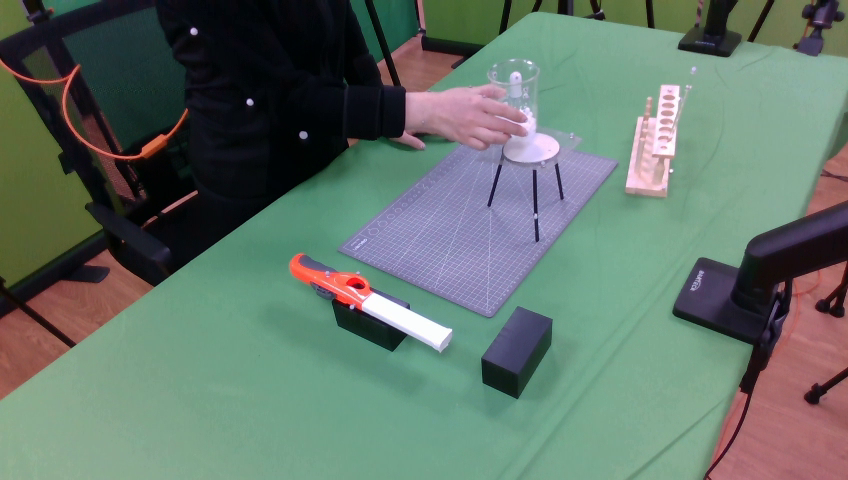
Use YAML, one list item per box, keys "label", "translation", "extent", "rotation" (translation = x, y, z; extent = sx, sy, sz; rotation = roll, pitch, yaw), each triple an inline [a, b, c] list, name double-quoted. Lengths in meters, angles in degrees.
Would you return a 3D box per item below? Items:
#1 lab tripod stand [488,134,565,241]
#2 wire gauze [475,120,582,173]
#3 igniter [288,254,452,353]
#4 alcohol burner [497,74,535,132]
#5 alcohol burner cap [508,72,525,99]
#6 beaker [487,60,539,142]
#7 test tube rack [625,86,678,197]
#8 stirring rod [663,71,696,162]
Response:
- label: "lab tripod stand"
  translation: [0.169, -0.092, 0.972]
  extent: [0.148, 0.132, 0.147]
  rotation: [-5, 41, 5]
- label: "wire gauze"
  translation: [0.161, -0.143, 0.928]
  extent: [0.120, 0.011, 0.125]
  rotation: [20, 47, 31]
- label: "igniter"
  translation: [-0.083, 0.079, 0.818]
  extent: [0.274, 0.025, 0.057]
  rotation: [23, 46, 27]
- label: "alcohol burner"
  translation: [0.184, -0.278, 1.210]
  extent: [0.078, 0.119, 0.077]
  rotation: [-3, 42, 3]
- label: "alcohol burner cap"
  translation: [0.181, -0.306, 1.186]
  extent: [0.034, 0.048, 0.033]
  rotation: [-7, 39, 6]
- label: "beaker"
  translation: [0.136, -0.204, 0.894]
  extent: [0.084, 0.101, 0.073]
  rotation: [-33, 47, -25]
- label: "test tube rack"
  translation: [0.412, -0.184, 1.088]
  extent: [0.066, 0.085, 0.242]
  rotation: [9, 43, 18]
- label: "stirring rod"
  translation: [0.411, -0.196, 0.981]
  extent: [0.014, 0.177, 0.006]
  rotation: [11, 50, 13]
